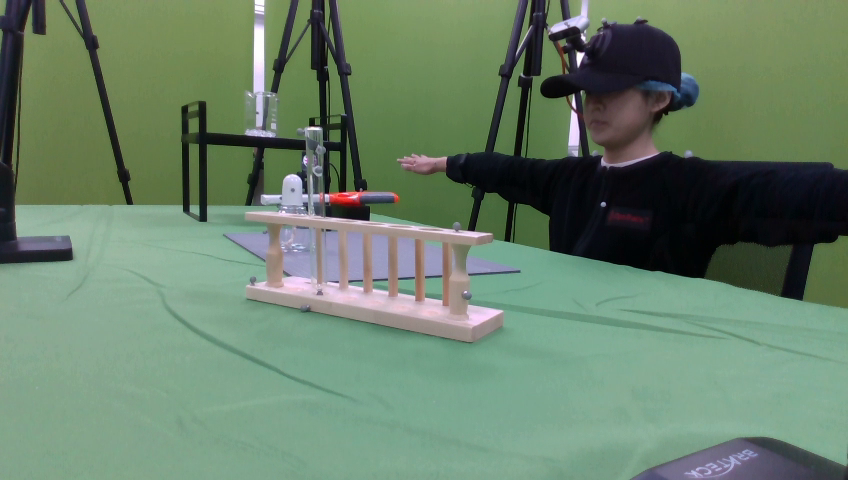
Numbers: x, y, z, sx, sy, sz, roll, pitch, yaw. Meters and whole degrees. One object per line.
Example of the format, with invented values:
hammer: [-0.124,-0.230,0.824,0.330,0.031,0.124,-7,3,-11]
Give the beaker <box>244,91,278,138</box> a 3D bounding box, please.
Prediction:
beaker: [-0.368,-0.280,1.356,0.074,0.100,0.084,4,8,6]

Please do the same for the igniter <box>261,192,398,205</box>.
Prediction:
igniter: [-0.185,-0.083,1.217,0.278,0.025,0.057,-2,12,-25]

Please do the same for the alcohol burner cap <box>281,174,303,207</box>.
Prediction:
alcohol burner cap: [-0.193,-0.072,0.884,0.034,0.048,0.034,1,5,0]

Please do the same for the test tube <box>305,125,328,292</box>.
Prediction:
test tube: [-0.096,-0.027,0.546,0.017,0.150,0.017,0,8,0]

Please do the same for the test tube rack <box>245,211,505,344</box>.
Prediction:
test tube rack: [-0.049,0.025,0.547,0.241,0.085,0.067,7,8,29]

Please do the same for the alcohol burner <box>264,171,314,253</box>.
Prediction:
alcohol burner: [-0.194,-0.042,0.888,0.078,0.119,0.078,3,5,0]
